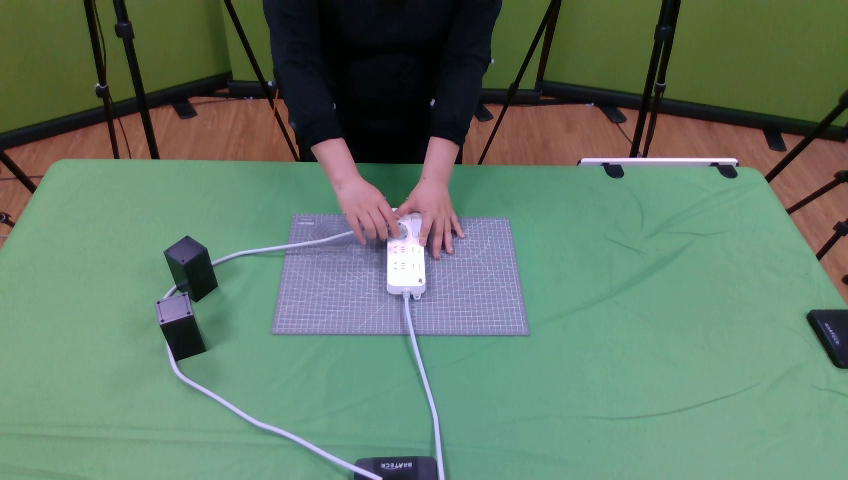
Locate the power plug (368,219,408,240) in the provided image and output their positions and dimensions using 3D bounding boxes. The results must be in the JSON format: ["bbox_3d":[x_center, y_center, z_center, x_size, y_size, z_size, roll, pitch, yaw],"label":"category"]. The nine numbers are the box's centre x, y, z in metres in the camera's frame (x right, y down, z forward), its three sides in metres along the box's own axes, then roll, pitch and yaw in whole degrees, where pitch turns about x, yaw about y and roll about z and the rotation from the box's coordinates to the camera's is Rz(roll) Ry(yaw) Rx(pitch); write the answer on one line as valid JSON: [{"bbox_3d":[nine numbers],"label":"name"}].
[{"bbox_3d":[-0.067,-0.018,1.173,0.072,0.053,0.035,9,46,8],"label":"power plug"}]

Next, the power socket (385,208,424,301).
[{"bbox_3d":[-0.038,0.019,1.165,0.072,0.033,0.225,0,46,-3],"label":"power socket"}]
